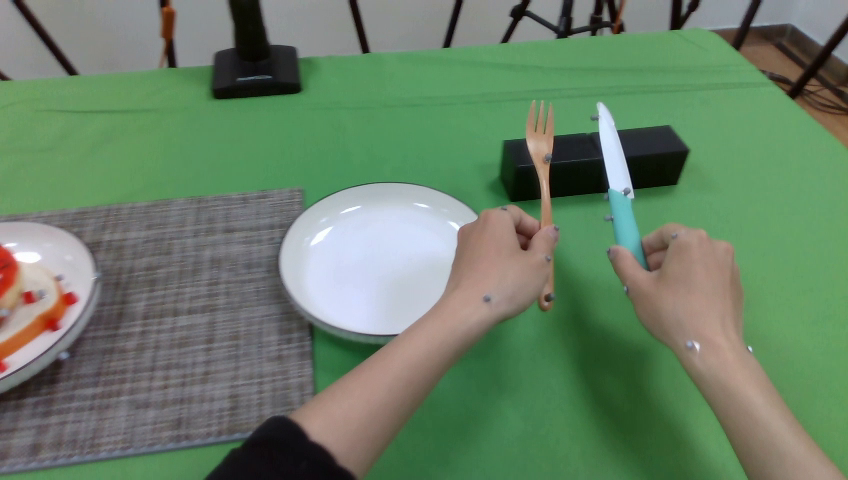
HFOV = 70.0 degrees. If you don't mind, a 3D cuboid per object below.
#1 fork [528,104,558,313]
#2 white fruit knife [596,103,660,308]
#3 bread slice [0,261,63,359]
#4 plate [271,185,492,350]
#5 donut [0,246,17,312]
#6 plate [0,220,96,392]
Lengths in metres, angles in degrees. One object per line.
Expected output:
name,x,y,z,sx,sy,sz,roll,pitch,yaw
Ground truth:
fork,0.107,-0.035,0.530,0.028,0.019,0.205,7,62,-5
white fruit knife,0.179,-0.037,0.550,0.027,0.016,0.205,0,67,-10
bread slice,-0.392,0.068,0.527,0.104,0.019,0.131,31,52,25
plate,-0.040,0.025,0.587,0.208,0.039,0.205,1,44,-1
donut,-0.394,0.039,0.502,0.099,0.048,0.098,1,44,-1
plate,-0.396,0.064,0.527,0.209,0.038,0.207,1,45,-1
